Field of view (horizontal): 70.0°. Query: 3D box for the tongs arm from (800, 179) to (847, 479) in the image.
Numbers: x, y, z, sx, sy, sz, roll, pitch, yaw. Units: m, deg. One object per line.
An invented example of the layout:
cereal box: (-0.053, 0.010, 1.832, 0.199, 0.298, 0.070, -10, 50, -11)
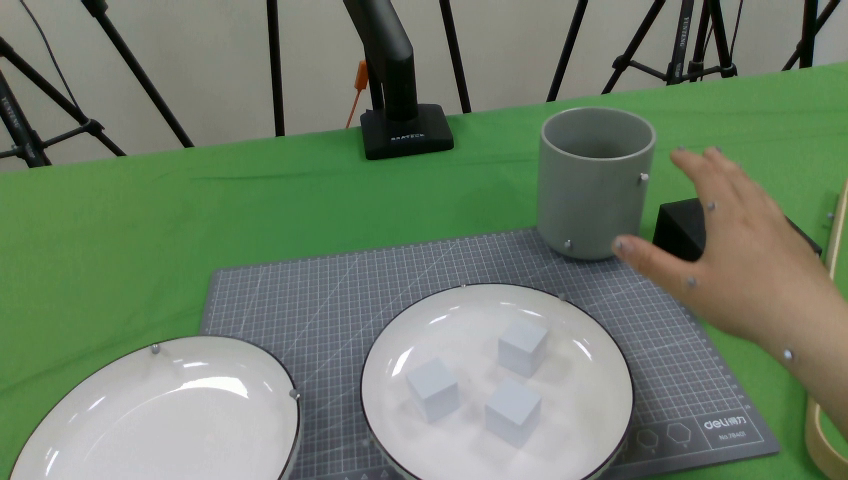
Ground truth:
tongs arm: (0.371, 0.050, 0.545, 0.028, 0.028, 0.386, 20, 45, 24)

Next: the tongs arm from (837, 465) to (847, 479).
tongs arm: (0.434, 0.075, 0.500, 0.050, 0.027, 0.384, 29, 50, 35)

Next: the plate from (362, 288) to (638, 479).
plate: (0.057, 0.120, 0.475, 0.207, 0.039, 0.205, -3, 38, 3)

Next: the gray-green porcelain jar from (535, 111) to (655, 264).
gray-green porcelain jar: (0.166, -0.048, 0.604, 0.106, 0.127, 0.105, -3, 38, 3)

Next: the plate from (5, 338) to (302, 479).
plate: (-0.192, 0.161, 0.448, 0.209, 0.038, 0.207, -4, 38, 3)
